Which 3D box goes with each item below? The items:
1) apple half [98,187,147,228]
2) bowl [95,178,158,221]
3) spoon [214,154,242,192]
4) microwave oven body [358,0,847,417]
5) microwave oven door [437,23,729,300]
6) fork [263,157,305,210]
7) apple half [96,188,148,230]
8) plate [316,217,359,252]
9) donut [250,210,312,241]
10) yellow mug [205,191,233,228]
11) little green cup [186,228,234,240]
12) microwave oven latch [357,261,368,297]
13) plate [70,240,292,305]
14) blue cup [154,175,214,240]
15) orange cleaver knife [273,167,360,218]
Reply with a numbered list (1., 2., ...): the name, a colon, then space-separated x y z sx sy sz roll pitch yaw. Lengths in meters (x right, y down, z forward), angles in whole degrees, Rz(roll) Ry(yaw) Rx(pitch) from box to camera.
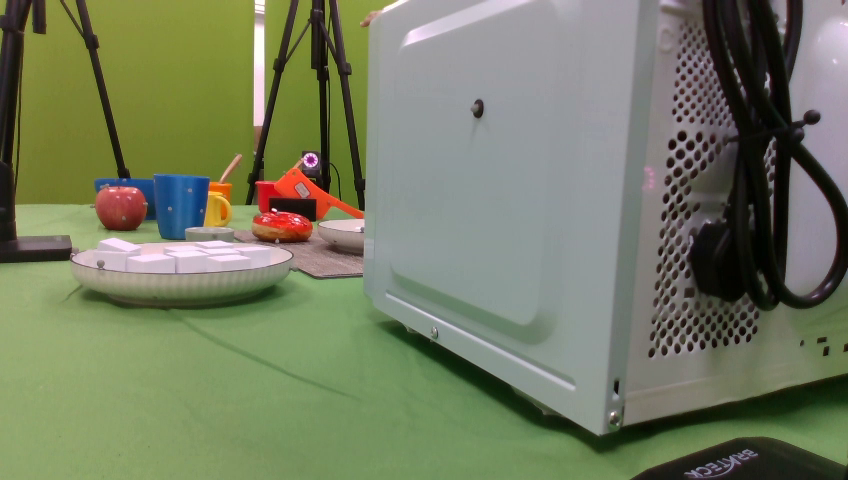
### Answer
1. apple half: -0.534 -0.059 1.071 0.082 0.081 0.032 -1 12 -25
2. bowl: -0.576 -0.081 1.217 0.151 0.077 0.151 3 8 0
3. spoon: -0.439 -0.124 1.318 0.041 0.193 0.022 5 -36 16
4. microwave oven body: 0.211 -0.047 0.474 0.444 0.260 0.324 -1 7 -28
5. microwave oven door: 0.181 -0.072 0.621 0.358 0.243 0.039 -2 8 -29
6. fork: -0.344 -0.143 1.505 0.028 0.019 0.207 -6 45 30
7. apple half: -0.517 -0.052 1.036 0.081 0.074 0.053 3 10 -26
8. plate: -0.064 -0.007 0.943 0.209 0.038 0.209 3 8 0
9. donut: -0.231 -0.022 0.983 0.099 0.048 0.099 5 7 0
10. yellow mug: -0.415 -0.057 1.132 0.130 0.064 0.100 6 8 16
11. little green cup: -0.284 0.005 0.805 0.061 0.038 0.061 2 8 0
12. microwave oven latch: -0.019 0.033 0.531 0.079 0.029 0.030 -1 7 -27
13. plate: -0.242 0.031 0.618 0.208 0.039 0.207 2 8 0
14. blue cup: -0.390 -0.053 0.978 0.093 0.100 0.092 3 6 0
15. orange cleaver knife: -0.238 -0.091 1.381 0.212 0.077 0.012 31 2 -19
